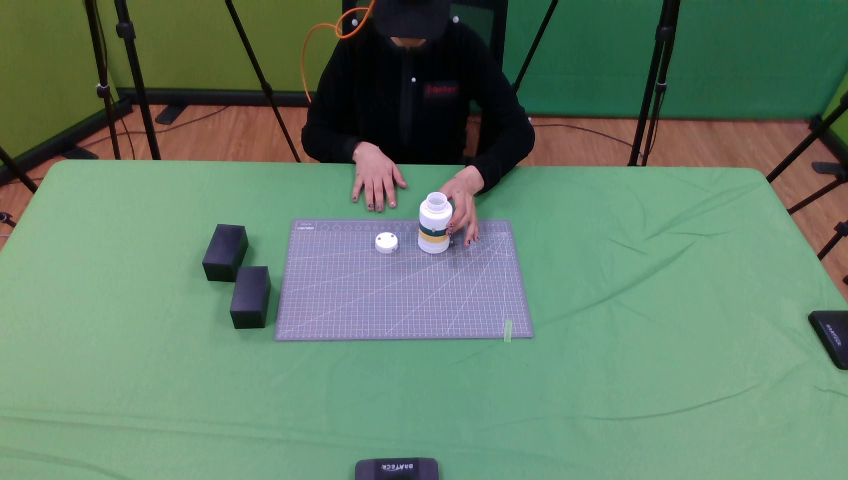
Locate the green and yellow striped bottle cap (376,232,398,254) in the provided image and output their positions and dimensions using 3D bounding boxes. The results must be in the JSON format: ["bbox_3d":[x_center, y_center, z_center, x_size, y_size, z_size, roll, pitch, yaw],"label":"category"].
[{"bbox_3d":[-0.073,0.006,1.187,0.045,0.020,0.045,2,44,-2],"label":"green and yellow striped bottle cap"}]

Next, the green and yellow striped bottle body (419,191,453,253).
[{"bbox_3d":[0.022,-0.036,1.160,0.063,0.120,0.063,2,46,-1],"label":"green and yellow striped bottle body"}]
